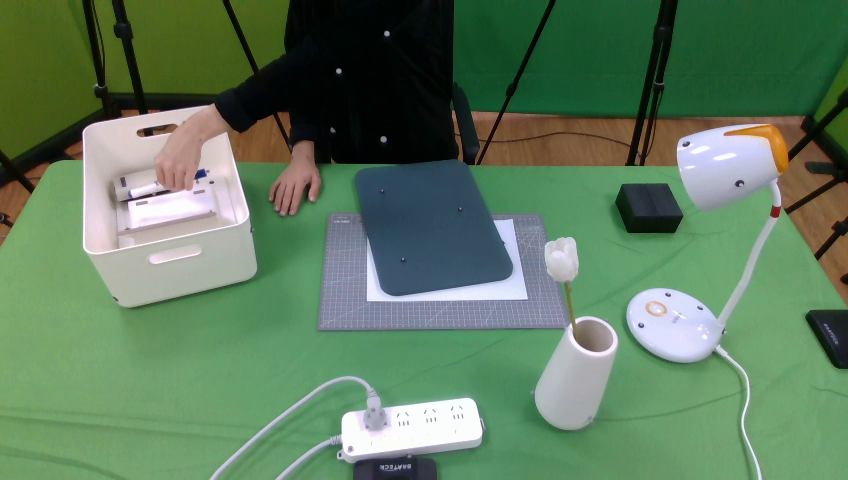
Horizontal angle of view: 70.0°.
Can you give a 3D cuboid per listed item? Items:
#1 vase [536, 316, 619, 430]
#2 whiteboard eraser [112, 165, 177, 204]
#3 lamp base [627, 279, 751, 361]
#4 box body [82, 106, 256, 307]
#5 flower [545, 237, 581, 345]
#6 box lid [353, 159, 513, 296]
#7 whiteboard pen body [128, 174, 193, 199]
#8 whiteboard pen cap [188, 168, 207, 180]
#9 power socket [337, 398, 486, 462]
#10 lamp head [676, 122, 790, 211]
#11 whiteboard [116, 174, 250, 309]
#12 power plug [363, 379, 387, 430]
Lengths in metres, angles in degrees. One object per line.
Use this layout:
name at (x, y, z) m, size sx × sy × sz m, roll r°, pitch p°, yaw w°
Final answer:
vase at (0.229, 0.200, 0.901) m, size 0.098 × 0.201 × 0.097 m, roll 3°, pitch 46°, yaw -3°
whiteboard eraser at (-0.565, -0.111, 1.227) m, size 0.113 × 0.042 × 0.055 m, roll -22°, pitch 59°, yaw -25°
lamp base at (0.460, 0.100, 1.027) m, size 0.178 × 0.181 × 0.160 m, roll 27°, pitch 51°, yaw 17°
box body at (-0.471, -0.070, 1.131) m, size 0.254 × 0.161 × 0.361 m, roll -14°, pitch 49°, yaw -17°
flower at (0.213, 0.137, 0.846) m, size 0.038 × 0.364 × 0.044 m, roll 21°, pitch 55°, yaw 39°
box lid at (0.009, -0.039, 1.242) m, size 0.264 × 0.015 × 0.369 m, roll -8°, pitch 47°, yaw -12°
whiteboard pen body at (-0.490, -0.105, 1.153) m, size 0.141 × 0.017 × 0.017 m, roll -18°, pitch 50°, yaw -9°
whiteboard pen cap at (-0.434, -0.125, 1.162) m, size 0.033 × 0.018 × 0.018 m, roll -19°, pitch 50°, yaw -12°
power socket at (-0.018, 0.285, 0.914) m, size 0.227 × 0.033 × 0.071 m, roll -4°, pitch 46°, yaw -8°
lamp head at (0.423, -0.104, 0.819) m, size 0.122 × 0.113 × 0.112 m, roll -13°, pitch 33°, yaw 40°
whiteboard at (-0.473, -0.055, 1.130) m, size 0.217 × 0.144 × 0.303 m, roll -14°, pitch 50°, yaw -16°
power plug at (-0.071, 0.252, 0.911) m, size 0.035 × 0.053 × 0.072 m, roll 3°, pitch 40°, yaw 0°
